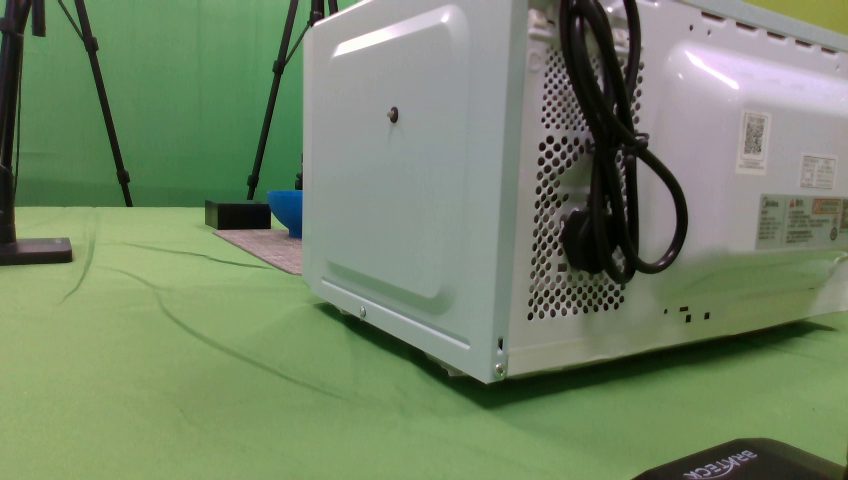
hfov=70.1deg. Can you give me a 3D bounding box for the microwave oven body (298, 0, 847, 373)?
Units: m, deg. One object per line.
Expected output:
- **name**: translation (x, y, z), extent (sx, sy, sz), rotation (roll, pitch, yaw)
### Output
- **microwave oven body**: translation (0.151, -0.055, 0.543), extent (0.444, 0.260, 0.324), rotation (-1, 7, -33)

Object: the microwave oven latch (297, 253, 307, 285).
- **microwave oven latch**: translation (-0.082, 0.027, 0.583), extent (0.079, 0.029, 0.030), rotation (-1, 8, -33)

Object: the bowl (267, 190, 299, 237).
- **bowl**: translation (-0.202, -0.046, 1.070), extent (0.151, 0.077, 0.151), rotation (3, 7, 0)

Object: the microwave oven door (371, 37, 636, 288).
- **microwave oven door**: translation (0.109, -0.080, 0.686), extent (0.358, 0.243, 0.039), rotation (-2, 9, -33)
